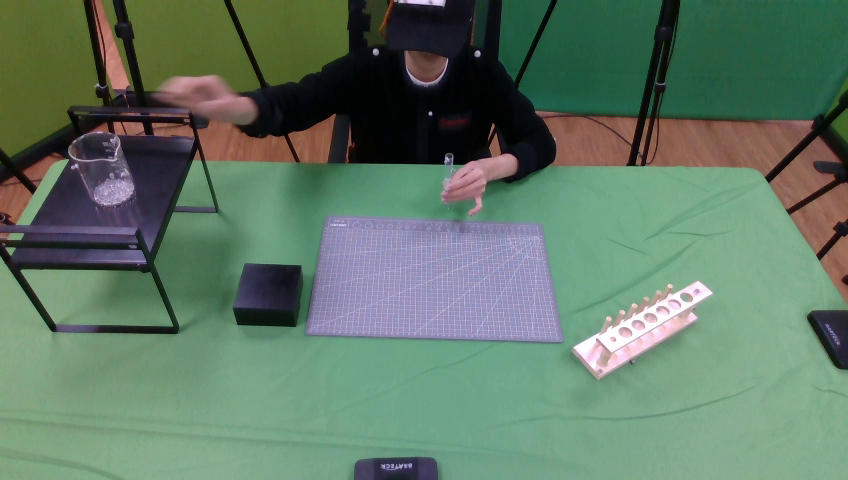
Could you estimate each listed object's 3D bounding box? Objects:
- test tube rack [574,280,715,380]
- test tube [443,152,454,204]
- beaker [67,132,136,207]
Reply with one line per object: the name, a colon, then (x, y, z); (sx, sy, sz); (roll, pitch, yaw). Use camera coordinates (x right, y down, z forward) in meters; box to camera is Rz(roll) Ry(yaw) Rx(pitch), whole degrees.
test tube rack: (0.378, 0.140, 1.038); (0.242, 0.085, 0.066); (-23, 51, -23)
test tube: (0.047, -0.117, 1.173); (0.017, 0.151, 0.017); (0, 58, 0)
beaker: (-0.504, -0.109, 0.961); (0.083, 0.101, 0.074); (25, 50, 19)
